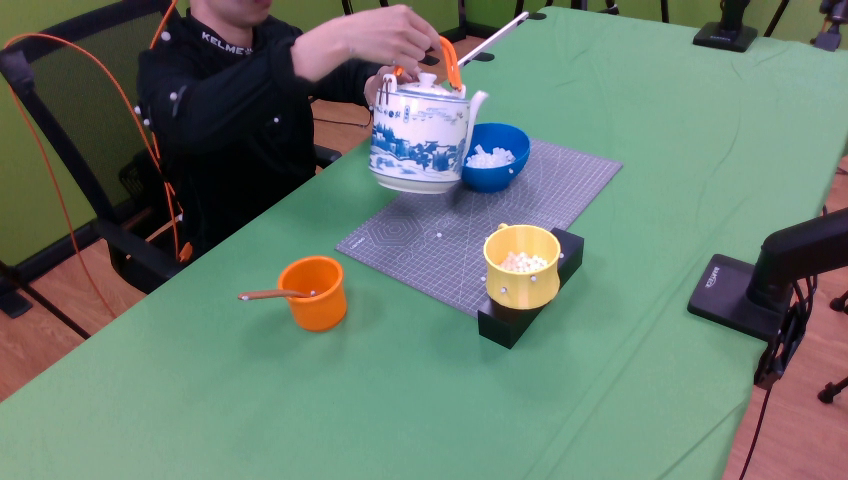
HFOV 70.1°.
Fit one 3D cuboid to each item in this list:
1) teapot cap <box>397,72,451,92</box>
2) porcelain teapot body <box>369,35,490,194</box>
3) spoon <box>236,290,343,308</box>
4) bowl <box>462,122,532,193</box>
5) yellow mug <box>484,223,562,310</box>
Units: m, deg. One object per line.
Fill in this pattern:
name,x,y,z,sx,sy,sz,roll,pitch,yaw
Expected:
teapot cap,0.002,-0.228,0.904,0.085,0.044,0.085,7,12,-1
porcelain teapot body,0.019,-0.193,0.933,0.207,0.225,0.144,-7,20,-41
spoon,-0.176,0.076,0.808,0.041,0.195,0.021,23,93,30
bowl,0.113,-0.136,1.063,0.151,0.077,0.150,-4,41,4
yellow mug,0.126,0.025,0.811,0.100,0.064,0.130,-16,39,-9
